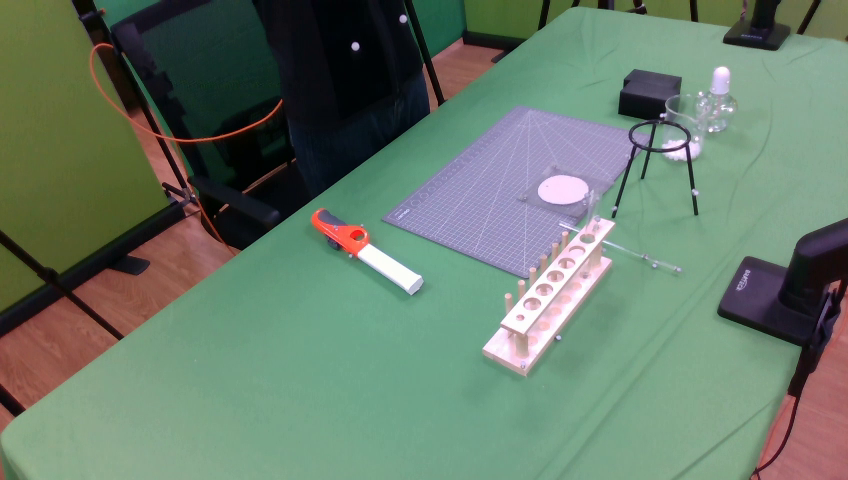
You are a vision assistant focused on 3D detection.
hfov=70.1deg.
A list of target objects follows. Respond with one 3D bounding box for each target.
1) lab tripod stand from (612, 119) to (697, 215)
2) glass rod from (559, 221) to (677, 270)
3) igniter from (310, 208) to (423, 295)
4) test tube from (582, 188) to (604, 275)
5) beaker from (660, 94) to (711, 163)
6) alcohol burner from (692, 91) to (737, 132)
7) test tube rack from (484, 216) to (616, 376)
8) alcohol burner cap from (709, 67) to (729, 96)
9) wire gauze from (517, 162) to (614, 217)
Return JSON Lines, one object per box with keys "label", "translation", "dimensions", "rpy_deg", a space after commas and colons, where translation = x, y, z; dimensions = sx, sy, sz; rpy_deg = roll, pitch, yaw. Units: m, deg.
{"label": "lab tripod stand", "translation": [0.369, -0.112, 0.958], "dimensions": [0.148, 0.132, 0.147], "rpy_deg": [-4, 40, 4]}
{"label": "glass rod", "translation": [0.292, 0.007, 0.927], "dimensions": [0.198, 0.008, 0.008], "rpy_deg": [26, 52, 36]}
{"label": "igniter", "translation": [-0.103, 0.012, 0.981], "dimensions": [0.057, 0.025, 0.274], "rpy_deg": [-42, 49, -20]}
{"label": "test tube", "translation": [0.229, -0.007, 0.821], "dimensions": [0.017, 0.151, 0.017], "rpy_deg": [-3, 42, 3]}
{"label": "beaker", "translation": [0.457, -0.192, 1.063], "dimensions": [0.074, 0.101, 0.083], "rpy_deg": [-7, 41, 4]}
{"label": "alcohol burner", "translation": [0.541, -0.262, 1.118], "dimensions": [0.078, 0.119, 0.077], "rpy_deg": [-5, 42, 5]}
{"label": "test tube rack", "translation": [0.174, 0.064, 0.823], "dimensions": [0.066, 0.085, 0.243], "rpy_deg": [23, 49, 33]}
{"label": "alcohol burner cap", "translation": [0.535, -0.288, 1.094], "dimensions": [0.034, 0.048, 0.033], "rpy_deg": [-8, 42, 8]}
{"label": "wire gauze", "translation": [0.245, -0.088, 1.046], "dimensions": [0.120, 0.011, 0.125], "rpy_deg": [25, 50, 32]}
